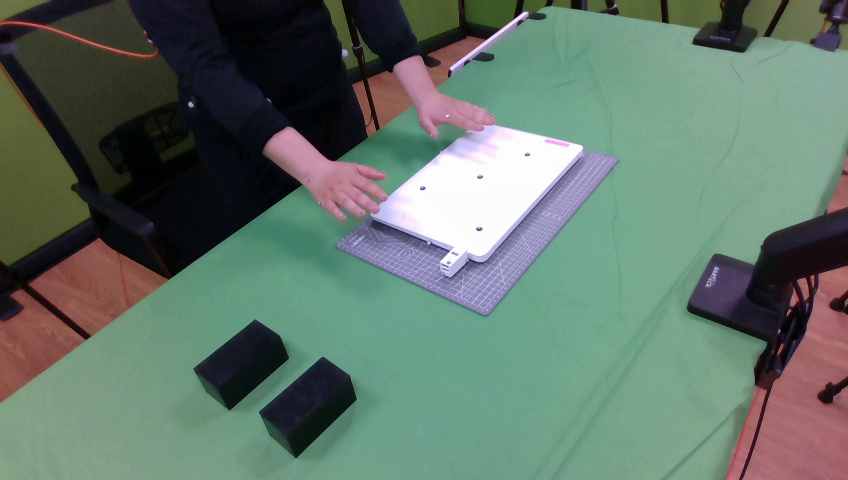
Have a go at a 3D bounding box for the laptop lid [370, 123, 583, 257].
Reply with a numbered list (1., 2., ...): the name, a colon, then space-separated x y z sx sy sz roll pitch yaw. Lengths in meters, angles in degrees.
1. laptop lid: 0.099 -0.106 1.064 0.240 0.013 0.358 22 48 33

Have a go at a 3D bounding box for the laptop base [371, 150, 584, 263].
1. laptop base: 0.102 -0.096 1.071 0.233 0.023 0.355 19 47 32

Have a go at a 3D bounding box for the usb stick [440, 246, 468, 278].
1. usb stick: 0.050 0.029 0.911 0.021 0.027 0.059 24 47 32
